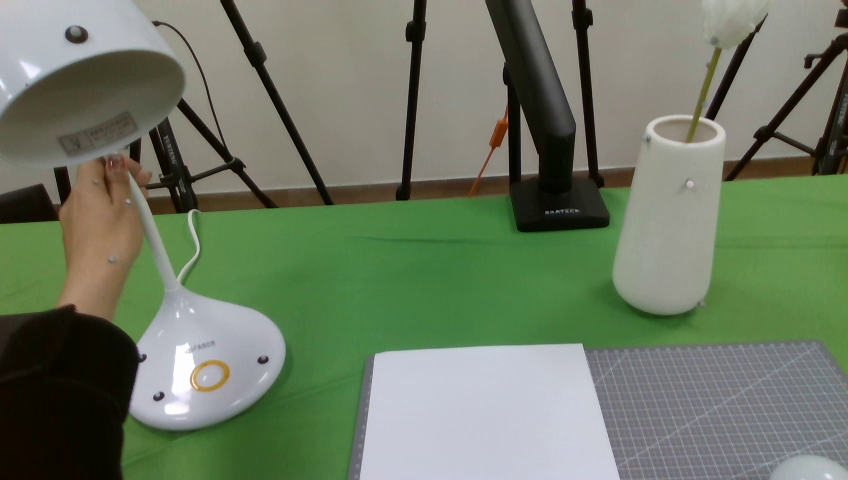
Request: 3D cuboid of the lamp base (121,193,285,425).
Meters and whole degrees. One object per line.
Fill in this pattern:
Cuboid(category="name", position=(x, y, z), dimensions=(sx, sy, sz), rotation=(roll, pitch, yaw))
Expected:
Cuboid(category="lamp base", position=(-0.236, 0.055, 0.581), dimensions=(0.161, 0.182, 0.177), rotation=(-27, 38, -28))

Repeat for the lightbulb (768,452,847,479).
Cuboid(category="lightbulb", position=(0.275, 0.201, 0.415), dimensions=(0.059, 0.060, 0.106), rotation=(0, 50, 8))

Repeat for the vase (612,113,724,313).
Cuboid(category="vase", position=(0.247, -0.023, 0.615), dimensions=(0.098, 0.202, 0.097), rotation=(-4, 34, 3))

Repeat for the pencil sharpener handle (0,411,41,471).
Cuboid(category="pencil sharpener handle", position=(-0.327, 0.156, 0.489), dimensions=(0.036, 0.068, 0.030), rotation=(-15, 35, -22))

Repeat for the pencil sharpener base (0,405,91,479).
Cuboid(category="pencil sharpener base", position=(-0.302, 0.190, 0.459), dimensions=(0.061, 0.108, 0.076), rotation=(-20, 37, -19))

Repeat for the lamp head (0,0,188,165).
Cuboid(category="lamp head", position=(-0.218, -0.120, 0.354), dimensions=(0.112, 0.112, 0.122), rotation=(-31, 80, -32))

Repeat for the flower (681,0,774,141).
Cuboid(category="flower", position=(0.234, -0.078, 0.551), dimensions=(0.043, 0.365, 0.038), rotation=(37, 65, 27))
